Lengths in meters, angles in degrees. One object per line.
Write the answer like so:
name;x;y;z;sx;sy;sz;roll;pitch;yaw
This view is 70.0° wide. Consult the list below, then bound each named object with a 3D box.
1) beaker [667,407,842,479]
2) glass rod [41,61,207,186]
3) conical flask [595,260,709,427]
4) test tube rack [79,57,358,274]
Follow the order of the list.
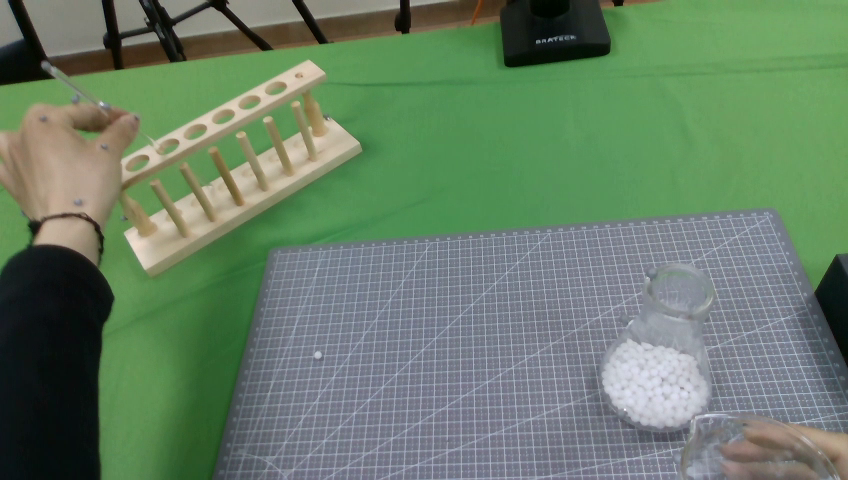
beaker;0.167;0.146;0.332;0.074;0.101;0.083;-25;50;-10
glass rod;-0.252;-0.093;0.534;0.008;0.201;0.008;-6;67;14
conical flask;0.151;0.063;0.387;0.075;0.123;0.074;-5;51;7
test tube rack;-0.191;-0.077;0.594;0.242;0.086;0.066;-35;53;-17
